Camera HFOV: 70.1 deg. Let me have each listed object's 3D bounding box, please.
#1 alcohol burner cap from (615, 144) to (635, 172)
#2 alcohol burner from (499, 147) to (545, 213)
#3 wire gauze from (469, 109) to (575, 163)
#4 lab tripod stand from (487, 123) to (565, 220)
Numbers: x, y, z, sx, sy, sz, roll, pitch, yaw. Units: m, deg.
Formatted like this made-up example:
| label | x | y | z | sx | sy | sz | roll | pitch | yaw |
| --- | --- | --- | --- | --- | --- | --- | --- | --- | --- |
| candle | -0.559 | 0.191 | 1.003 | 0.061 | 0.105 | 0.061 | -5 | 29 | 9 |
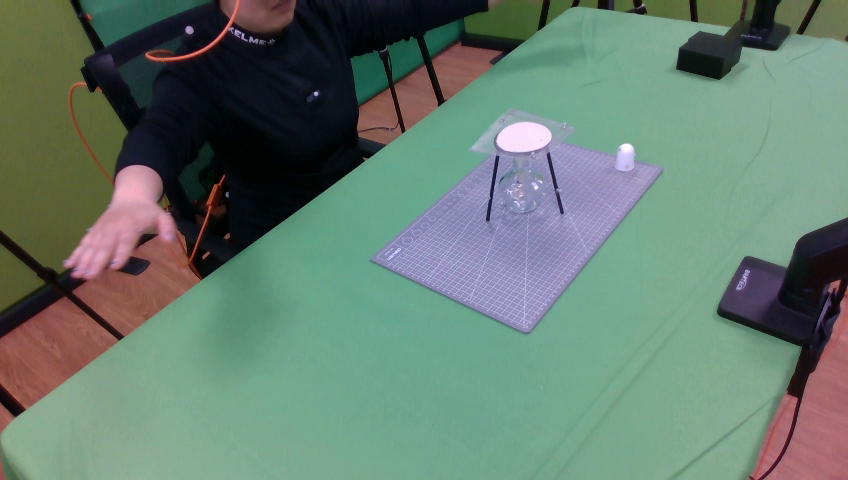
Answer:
| label | x | y | z | sx | sy | sz | roll | pitch | yaw |
| --- | --- | --- | --- | --- | --- | --- | --- | --- | --- |
| alcohol burner cap | 0.357 | -0.147 | 1.069 | 0.034 | 0.048 | 0.033 | -7 | 40 | 6 |
| alcohol burner | 0.161 | -0.104 | 1.001 | 0.078 | 0.120 | 0.077 | -6 | 42 | 6 |
| wire gauze | 0.154 | -0.163 | 0.950 | 0.120 | 0.011 | 0.125 | 22 | 50 | 32 |
| lab tripod stand | 0.161 | -0.110 | 0.992 | 0.148 | 0.132 | 0.147 | -5 | 42 | 5 |
